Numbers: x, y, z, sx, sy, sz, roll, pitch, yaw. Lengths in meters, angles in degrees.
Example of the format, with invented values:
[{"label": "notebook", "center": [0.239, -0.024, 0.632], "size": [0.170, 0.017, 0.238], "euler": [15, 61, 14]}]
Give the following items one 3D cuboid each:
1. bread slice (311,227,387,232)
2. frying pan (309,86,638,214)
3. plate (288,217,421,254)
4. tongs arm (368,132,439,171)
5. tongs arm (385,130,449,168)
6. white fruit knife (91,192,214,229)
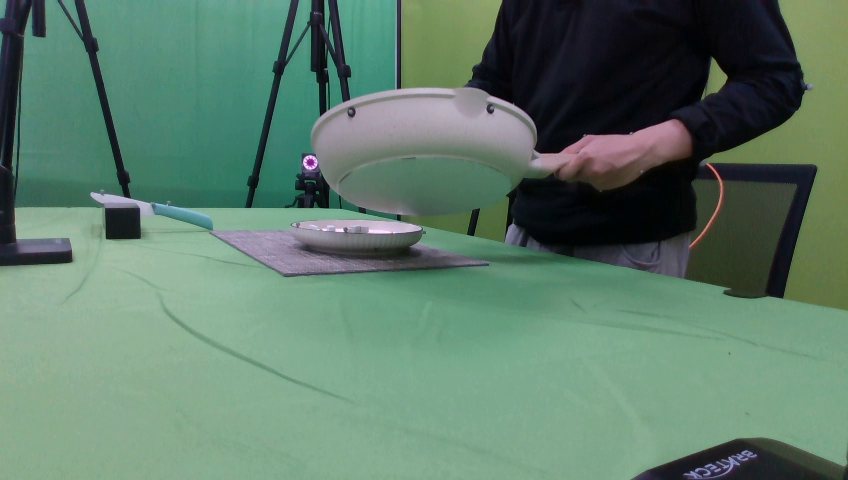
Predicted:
[{"label": "bread slice", "center": [-0.115, -0.005, 0.950], "size": [0.134, 0.018, 0.107], "euler": [4, 6, -7]}, {"label": "frying pan", "center": [0.096, -0.108, 0.821], "size": [0.490, 0.102, 0.306], "euler": [-5, -11, -22]}, {"label": "plate", "center": [-0.109, -0.008, 0.956], "size": [0.208, 0.039, 0.207], "euler": [2, 8, 0]}, {"label": "tongs arm", "center": [-0.020, -0.138, 0.899], "size": [0.051, 0.026, 0.385], "euler": [-9, 11, 8]}, {"label": "tongs arm", "center": [-0.003, -0.140, 0.895], "size": [0.028, 0.028, 0.388], "euler": [-12, 10, 15]}, {"label": "white fruit knife", "center": [-0.478, -0.055, 1.078], "size": [0.208, 0.027, 0.016], "euler": [14, 0, -30]}]
